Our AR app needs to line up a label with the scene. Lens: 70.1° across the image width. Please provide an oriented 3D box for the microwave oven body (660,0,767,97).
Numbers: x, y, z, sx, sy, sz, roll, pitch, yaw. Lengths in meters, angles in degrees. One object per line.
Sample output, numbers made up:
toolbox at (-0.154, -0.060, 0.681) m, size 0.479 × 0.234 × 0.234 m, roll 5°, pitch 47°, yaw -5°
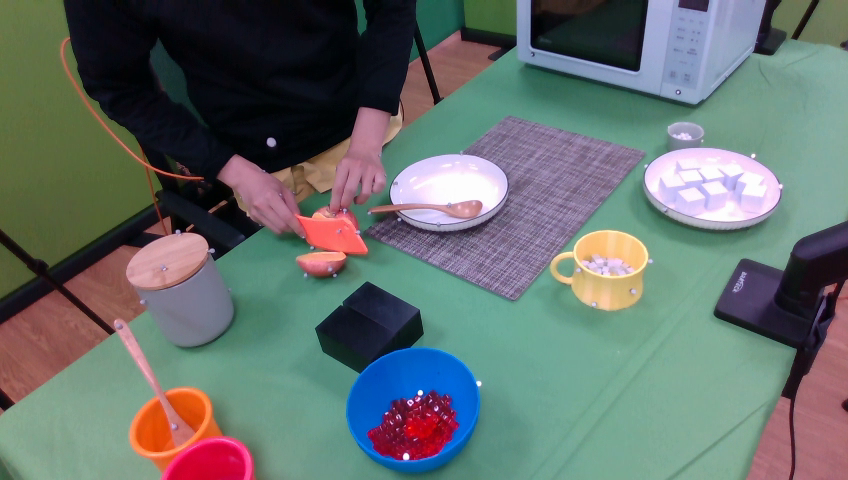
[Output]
microwave oven body at (0.473, -0.517, 1.313) m, size 0.438 × 0.261 × 0.327 m, roll 26°, pitch 51°, yaw 34°

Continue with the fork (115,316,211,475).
fork at (-0.308, 0.179, 0.708) m, size 0.028 × 0.018 × 0.207 m, roll -30°, pitch 89°, yaw -22°

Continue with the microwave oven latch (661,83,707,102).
microwave oven latch at (0.516, -0.298, 1.202) m, size 0.078 × 0.029 × 0.030 m, roll 25°, pitch 51°, yaw 33°

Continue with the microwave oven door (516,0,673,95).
microwave oven door at (0.344, -0.458, 1.256) m, size 0.353 × 0.245 × 0.039 m, roll 26°, pitch 51°, yaw 33°

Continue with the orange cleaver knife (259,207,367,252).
orange cleaver knife at (-0.181, -0.017, 0.973) m, size 0.210 × 0.077 × 0.012 m, roll 10°, pitch 46°, yaw 32°

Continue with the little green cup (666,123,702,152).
little green cup at (0.472, -0.183, 1.103) m, size 0.061 × 0.039 × 0.061 m, roll -5°, pitch 40°, yaw 5°

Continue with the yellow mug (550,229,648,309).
yellow mug at (0.245, 0.040, 0.857) m, size 0.130 × 0.064 × 0.099 m, roll 1°, pitch 42°, yaw 11°

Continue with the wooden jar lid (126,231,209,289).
wooden jar lid at (-0.340, 0.030, 0.808) m, size 0.108 × 0.021 × 0.108 m, roll -5°, pitch 39°, yaw 5°

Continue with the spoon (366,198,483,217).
spoon at (0.001, -0.056, 0.997) m, size 0.194 × 0.022 × 0.041 m, roll 1°, pitch 52°, yaw -9°

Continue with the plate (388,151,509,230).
plate at (0.044, -0.082, 1.042) m, size 0.209 × 0.038 × 0.208 m, roll -4°, pitch 40°, yaw 4°

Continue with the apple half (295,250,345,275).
apple half at (-0.159, 0.036, 0.939) m, size 0.081 × 0.033 × 0.081 m, roll -1°, pitch 9°, yaw 1°

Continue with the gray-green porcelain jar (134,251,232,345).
gray-green porcelain jar at (-0.334, 0.077, 0.849) m, size 0.106 × 0.127 × 0.105 m, roll -4°, pitch 41°, yaw 4°

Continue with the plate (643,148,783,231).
plate at (0.464, -0.079, 0.986) m, size 0.207 × 0.039 × 0.206 m, roll -4°, pitch 41°, yaw 4°

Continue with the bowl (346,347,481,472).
bowl at (-0.008, 0.205, 0.691) m, size 0.151 × 0.077 × 0.150 m, roll -4°, pitch 40°, yaw 4°

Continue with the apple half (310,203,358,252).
apple half at (-0.139, -0.024, 0.981) m, size 0.080 × 0.075 × 0.053 m, roll 14°, pitch 39°, yaw 30°
